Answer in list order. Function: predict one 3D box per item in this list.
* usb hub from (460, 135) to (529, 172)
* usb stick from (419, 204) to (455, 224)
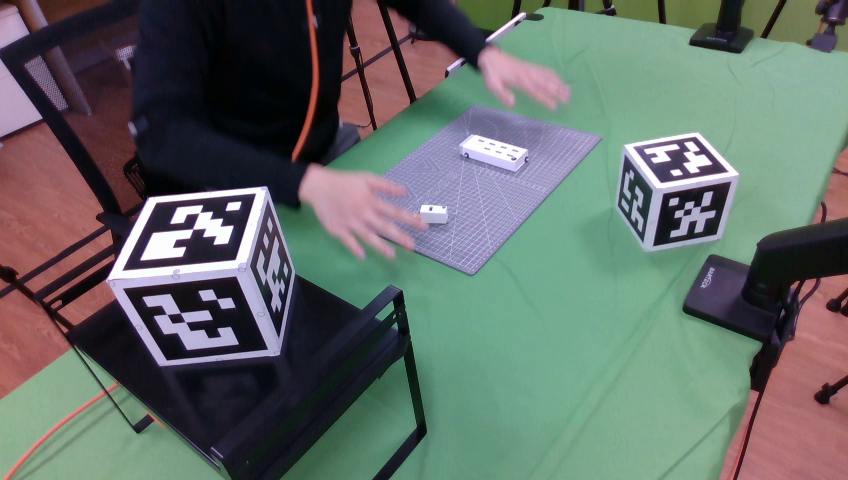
[{"bbox_3d":[0.132,-0.164,1.138,0.124,0.025,0.049,22,48,30],"label":"usb hub"},{"bbox_3d":[0.023,-0.042,1.005,0.059,0.027,0.021,11,70,18],"label":"usb stick"}]
